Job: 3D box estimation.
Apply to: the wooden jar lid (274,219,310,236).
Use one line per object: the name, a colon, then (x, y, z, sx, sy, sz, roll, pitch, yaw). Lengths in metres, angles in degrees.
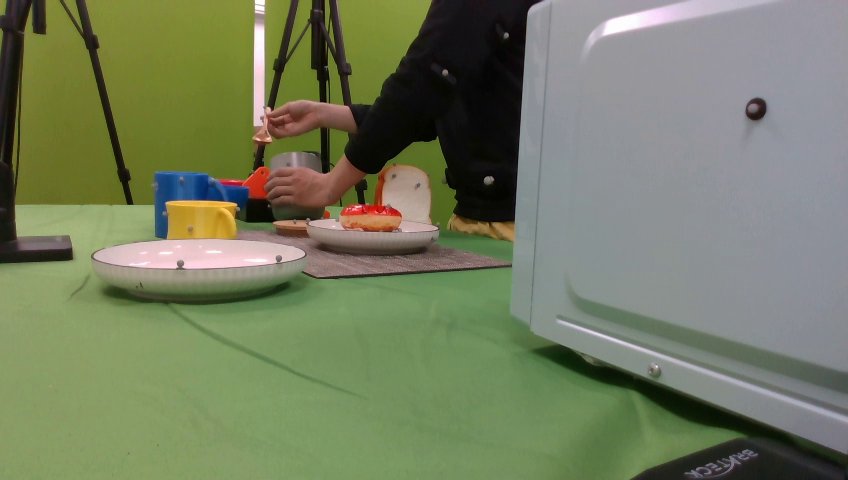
wooden jar lid: (-0.213, -0.023, 1.081, 0.108, 0.020, 0.108, 3, 7, 0)

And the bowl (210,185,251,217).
bowl: (-0.408, -0.064, 1.155, 0.151, 0.077, 0.151, 2, 8, 0)

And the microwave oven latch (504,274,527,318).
microwave oven latch: (0.100, 0.041, 0.472, 0.079, 0.029, 0.030, -2, 8, -29)

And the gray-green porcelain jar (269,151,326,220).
gray-green porcelain jar: (-0.255, -0.102, 1.221, 0.106, 0.126, 0.106, -8, -14, -2)

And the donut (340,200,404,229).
donut: (-0.081, -0.038, 0.945, 0.099, 0.048, 0.099, 1, 5, 0)

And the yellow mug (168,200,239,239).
yellow mug: (-0.320, -0.023, 0.904, 0.130, 0.064, 0.100, 9, 11, 36)

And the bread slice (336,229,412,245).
bread slice: (-0.074, -0.005, 0.938, 0.105, 0.019, 0.131, -2, 4, -19)

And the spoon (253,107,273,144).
spoon: (-0.356, -0.262, 1.367, 0.042, 0.021, 0.193, 5, 37, -11)

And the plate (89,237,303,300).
plate: (-0.233, 0.029, 0.637, 0.208, 0.039, 0.207, 2, 7, 0)

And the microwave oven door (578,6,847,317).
microwave oven door: (0.294, -0.067, 0.570, 0.358, 0.243, 0.039, -3, 9, -31)

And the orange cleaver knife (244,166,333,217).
orange cleaver knife: (-0.300, -0.089, 1.351, 0.212, 0.077, 0.012, 32, -9, -33)

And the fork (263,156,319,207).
fork: (-0.331, -0.144, 1.506, 0.207, 0.018, 0.028, -42, -19, 22)

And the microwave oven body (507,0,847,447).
microwave oven body: (0.331, -0.042, 0.425, 0.444, 0.260, 0.324, -2, 8, -31)

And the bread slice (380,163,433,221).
bread slice: (-0.035, -0.076, 1.125, 0.107, 0.134, 0.018, -4, 1, -25)

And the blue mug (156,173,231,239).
blue mug: (-0.381, -0.057, 1.004, 0.117, 0.106, 0.082, 0, 8, -12)

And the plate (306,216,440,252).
plate: (-0.079, -0.011, 0.950, 0.209, 0.038, 0.209, 2, 8, 0)
